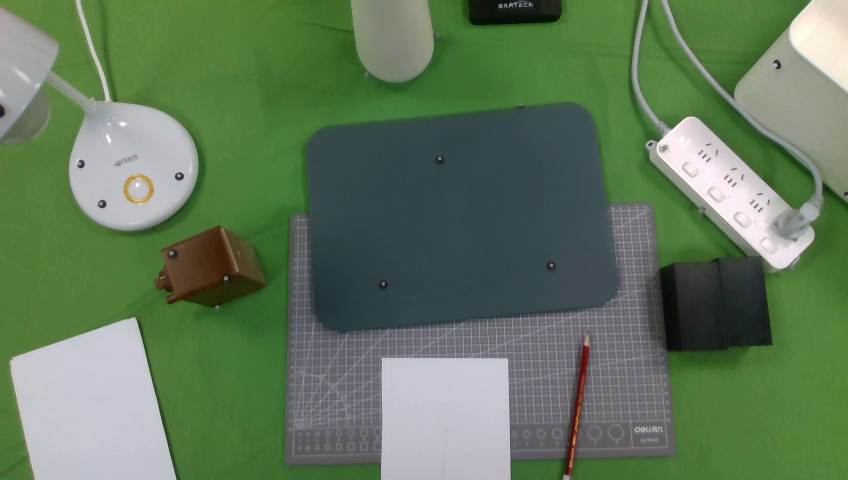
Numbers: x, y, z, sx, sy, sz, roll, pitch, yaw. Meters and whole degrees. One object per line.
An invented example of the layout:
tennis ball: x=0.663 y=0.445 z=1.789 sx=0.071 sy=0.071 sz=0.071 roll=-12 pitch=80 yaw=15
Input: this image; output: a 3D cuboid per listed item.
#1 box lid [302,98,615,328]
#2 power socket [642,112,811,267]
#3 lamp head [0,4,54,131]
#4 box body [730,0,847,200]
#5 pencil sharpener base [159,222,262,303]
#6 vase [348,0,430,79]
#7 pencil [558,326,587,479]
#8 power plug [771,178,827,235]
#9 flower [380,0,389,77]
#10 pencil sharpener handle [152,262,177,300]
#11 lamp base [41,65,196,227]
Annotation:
box lid: x=0.040 y=-0.037 z=0.747 sx=0.372 sy=0.015 sz=0.262 roll=-6 pitch=79 yaw=0
power socket: x=0.367 y=-0.063 z=0.737 sx=0.072 sy=0.033 sz=0.226 roll=-42 pitch=81 yaw=-7
lamp head: x=-0.337 y=-0.132 z=0.405 sx=0.112 sy=0.124 sz=0.111 roll=-25 pitch=46 yaw=28
box body: x=0.577 y=-0.165 z=0.686 sx=0.363 sy=0.161 sz=0.254 roll=44 pitch=83 yaw=8
pencil sharpener base: x=-0.242 y=0.029 z=0.691 sx=0.077 sy=0.107 sz=0.061 roll=-23 pitch=80 yaw=-3
vase: x=-0.042 y=-0.268 z=0.696 sx=0.098 sy=0.201 sz=0.097 roll=0 pitch=78 yaw=0
pencil: x=0.173 y=0.195 z=0.701 sx=0.012 sy=0.012 sz=0.193 roll=10 pitch=82 yaw=3
power plug: x=0.439 y=-0.034 z=0.707 sx=0.072 sy=0.053 sz=0.035 roll=-31 pitch=77 yaw=-9
flower: x=-0.035 y=-0.298 z=0.618 sx=0.044 sy=0.364 sz=0.038 roll=-26 pitch=67 yaw=-19
pencil sharpener handle: x=-0.288 y=0.050 z=0.676 sx=0.030 sy=0.068 sz=0.035 roll=-23 pitch=68 yaw=-3
lamp base: x=-0.374 y=-0.119 z=0.683 sx=0.160 sy=0.181 sz=0.178 roll=-33 pitch=78 yaw=-5
